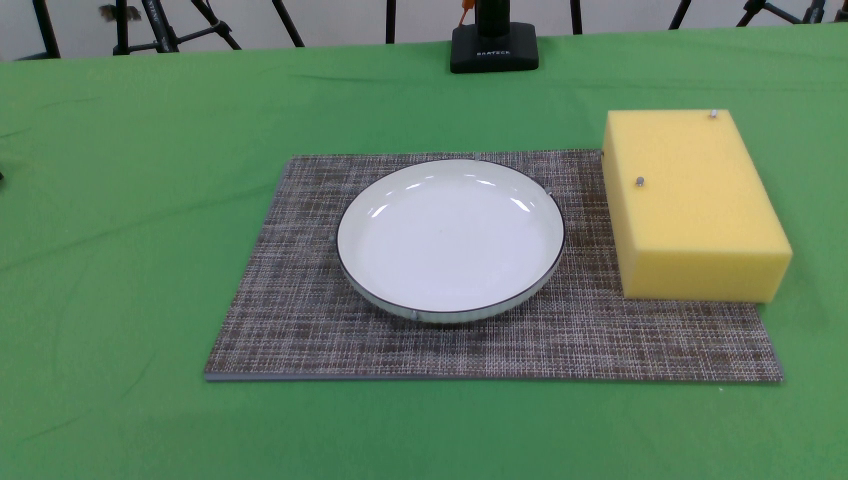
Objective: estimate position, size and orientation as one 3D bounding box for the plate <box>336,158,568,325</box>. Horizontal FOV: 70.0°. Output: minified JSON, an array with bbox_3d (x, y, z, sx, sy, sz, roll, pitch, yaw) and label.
[{"bbox_3d":[0.026,0.000,0.557,0.207,0.039,0.205,-3,43,3],"label":"plate"}]

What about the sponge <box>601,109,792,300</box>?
[{"bbox_3d":[0.236,-0.041,0.559,0.118,0.061,0.205,1,43,7],"label":"sponge"}]
